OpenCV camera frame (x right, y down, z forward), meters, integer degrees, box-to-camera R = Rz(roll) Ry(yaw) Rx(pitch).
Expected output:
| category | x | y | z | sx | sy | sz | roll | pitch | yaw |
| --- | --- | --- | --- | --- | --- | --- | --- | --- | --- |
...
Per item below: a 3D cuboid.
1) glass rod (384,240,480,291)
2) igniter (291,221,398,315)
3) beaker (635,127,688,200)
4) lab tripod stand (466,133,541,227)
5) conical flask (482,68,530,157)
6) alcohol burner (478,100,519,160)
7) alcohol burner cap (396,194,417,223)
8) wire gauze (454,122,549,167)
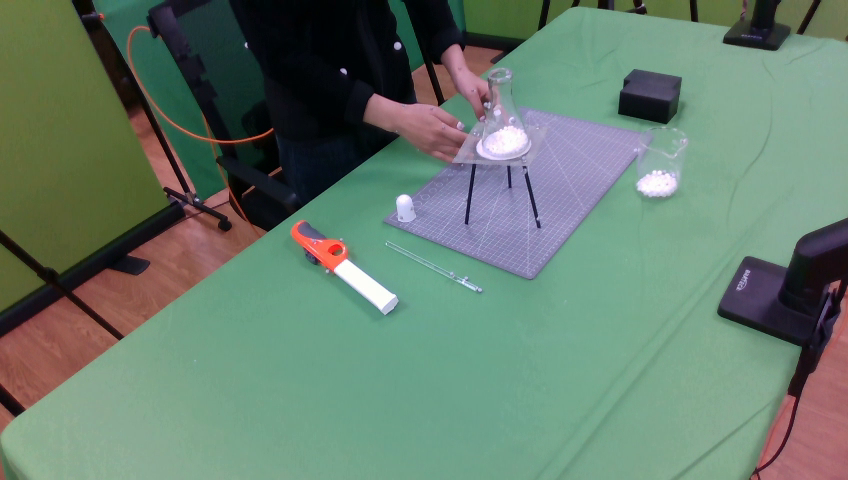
| category | x | y | z | sx | sy | sz | roll | pitch | yaw |
| --- | --- | --- | --- | --- | --- | --- | --- | --- | --- |
| glass rod | 0.009 | 0.037 | 0.949 | 0.198 | 0.008 | 0.008 | 26 | 52 | 34 |
| igniter | -0.136 | 0.037 | 0.962 | 0.057 | 0.025 | 0.274 | -41 | 48 | -18 |
| beaker | 0.388 | -0.122 | 0.994 | 0.074 | 0.101 | 0.083 | -8 | 40 | 2 |
| lab tripod stand | 0.130 | -0.099 | 0.985 | 0.148 | 0.132 | 0.147 | -6 | 38 | 6 |
| conical flask | 0.118 | -0.192 | 0.902 | 0.075 | 0.122 | 0.075 | -7 | 39 | 6 |
| alcohol burner | 0.137 | -0.205 | 1.124 | 0.078 | 0.120 | 0.077 | -7 | 40 | 7 |
| alcohol burner cap | -0.032 | -0.056 | 1.036 | 0.034 | 0.048 | 0.033 | -6 | 41 | 6 |
| wire gauze | 0.122 | -0.149 | 0.943 | 0.121 | 0.011 | 0.125 | 7 | 44 | 22 |
